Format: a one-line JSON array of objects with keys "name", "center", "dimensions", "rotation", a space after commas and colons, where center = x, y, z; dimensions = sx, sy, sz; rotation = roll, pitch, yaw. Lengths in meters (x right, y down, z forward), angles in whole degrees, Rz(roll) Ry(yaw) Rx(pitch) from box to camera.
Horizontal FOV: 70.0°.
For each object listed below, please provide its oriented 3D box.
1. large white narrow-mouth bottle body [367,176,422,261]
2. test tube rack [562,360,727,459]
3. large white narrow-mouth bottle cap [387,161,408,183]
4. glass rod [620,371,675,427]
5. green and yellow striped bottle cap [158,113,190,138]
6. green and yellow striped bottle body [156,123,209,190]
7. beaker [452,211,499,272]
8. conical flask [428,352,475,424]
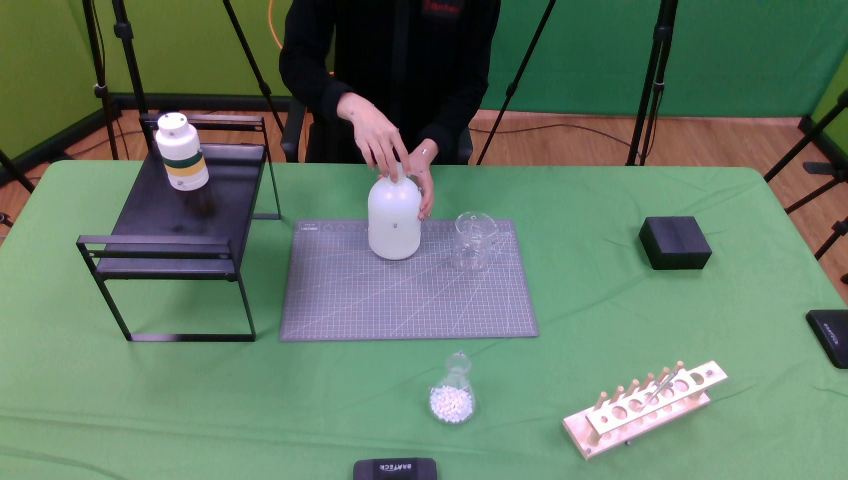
[{"name": "large white narrow-mouth bottle body", "center": [-0.055, -0.058, 1.127], "dimensions": [0.102, 0.195, 0.101], "rotation": [3, 45, -3]}, {"name": "test tube rack", "center": [0.341, 0.247, 0.940], "dimensions": [0.243, 0.085, 0.066], "rotation": [-16, 49, -18]}, {"name": "large white narrow-mouth bottle cap", "center": [-0.047, -0.120, 1.065], "dimensions": [0.038, 0.024, 0.037], "rotation": [3, 45, -3]}, {"name": "glass rod", "center": [0.316, 0.230, 0.863], "dimensions": [0.008, 0.200, 0.008], "rotation": [3, 54, -3]}, {"name": "green and yellow striped bottle cap", "center": [-0.393, -0.180, 0.951], "dimensions": [0.045, 0.020, 0.045], "rotation": [2, 44, -2]}, {"name": "green and yellow striped bottle body", "center": [-0.395, -0.145, 0.989], "dimensions": [0.063, 0.120, 0.063], "rotation": [2, 46, -2]}, {"name": "beaker", "center": [0.093, 0.006, 1.141], "dimensions": [0.084, 0.101, 0.073], "rotation": [8, 47, 3]}, {"name": "conical flask", "center": [0.046, 0.220, 0.920], "dimensions": [0.075, 0.122, 0.075], "rotation": [2, 46, -2]}]
